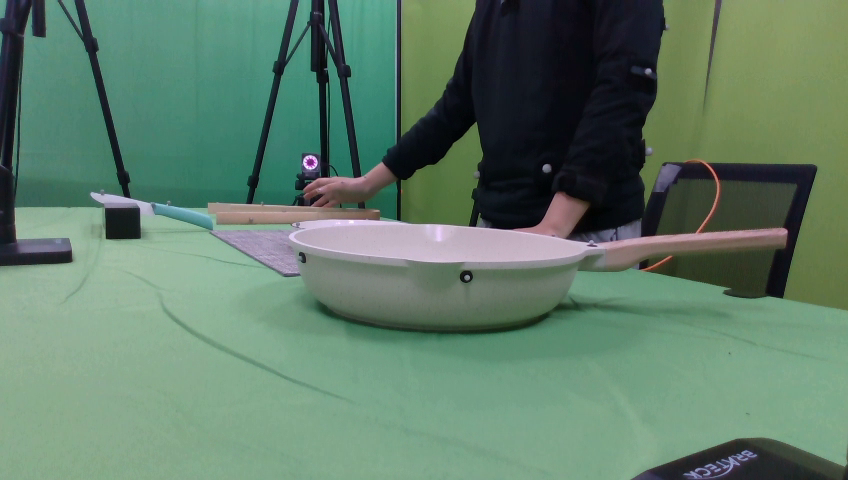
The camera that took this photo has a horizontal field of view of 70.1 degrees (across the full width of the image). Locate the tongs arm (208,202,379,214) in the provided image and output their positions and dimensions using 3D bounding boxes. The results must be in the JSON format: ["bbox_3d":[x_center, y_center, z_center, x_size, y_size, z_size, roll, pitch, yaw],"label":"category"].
[{"bbox_3d":[-0.296,-0.067,1.406,0.386,0.026,0.050,0,9,-22],"label":"tongs arm"}]

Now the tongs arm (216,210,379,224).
[{"bbox_3d":[-0.261,-0.052,1.336,0.390,0.028,0.028,-3,7,-34],"label":"tongs arm"}]

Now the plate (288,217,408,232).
[{"bbox_3d":[-0.109,-0.007,0.956,0.208,0.039,0.207,2,7,0],"label":"plate"}]

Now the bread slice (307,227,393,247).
[{"bbox_3d":[-0.115,-0.005,0.950,0.134,0.018,0.107,3,6,-7],"label":"bread slice"}]

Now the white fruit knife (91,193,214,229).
[{"bbox_3d":[-0.478,-0.055,1.077,0.208,0.027,0.016,14,-1,-30],"label":"white fruit knife"}]

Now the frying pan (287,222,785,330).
[{"bbox_3d":[0.114,0.016,0.607,0.488,0.102,0.307,-6,7,3],"label":"frying pan"}]
